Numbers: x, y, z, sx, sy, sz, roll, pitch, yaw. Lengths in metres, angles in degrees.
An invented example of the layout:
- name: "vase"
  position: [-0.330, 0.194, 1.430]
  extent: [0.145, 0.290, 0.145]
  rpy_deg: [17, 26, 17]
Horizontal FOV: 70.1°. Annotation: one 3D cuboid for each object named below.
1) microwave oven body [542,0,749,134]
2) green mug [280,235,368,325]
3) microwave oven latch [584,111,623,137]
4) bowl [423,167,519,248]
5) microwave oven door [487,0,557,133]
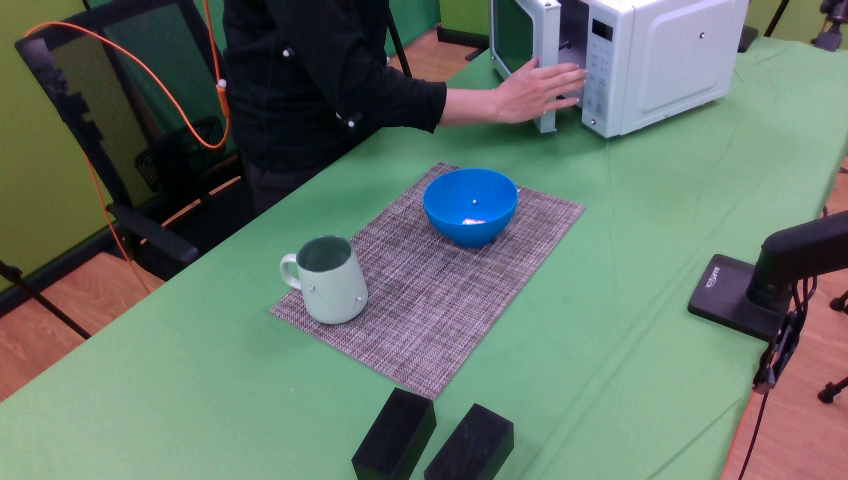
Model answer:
- name: "microwave oven body"
  position: [0.382, -0.445, 1.246]
  extent: [0.327, 0.261, 0.437]
  rpy_deg: [-22, 42, -16]
- name: "green mug"
  position: [-0.146, 0.055, 0.857]
  extent: [0.125, 0.105, 0.092]
  rpy_deg: [8, 43, 17]
- name: "microwave oven latch"
  position: [0.337, -0.222, 1.142]
  extent: [0.030, 0.029, 0.078]
  rpy_deg: [-21, 42, -14]
- name: "bowl"
  position: [0.075, -0.041, 0.958]
  extent: [0.151, 0.077, 0.150]
  rpy_deg: [-4, 40, 4]
- name: "microwave oven door"
  position: [0.193, -0.408, 1.223]
  extent: [0.039, 0.245, 0.353]
  rpy_deg: [-12, 41, -6]
